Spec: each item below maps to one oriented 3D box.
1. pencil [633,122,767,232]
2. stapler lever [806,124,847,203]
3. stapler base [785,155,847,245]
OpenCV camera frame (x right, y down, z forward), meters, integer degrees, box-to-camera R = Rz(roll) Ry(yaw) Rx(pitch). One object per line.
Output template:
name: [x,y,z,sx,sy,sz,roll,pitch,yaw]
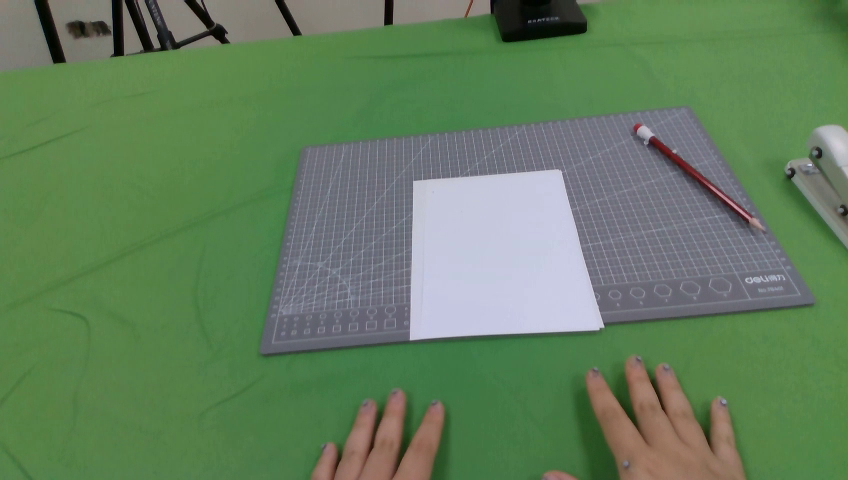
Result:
pencil: [0.267,-0.067,0.598,0.012,0.012,0.191,-19,45,-11]
stapler lever: [0.377,-0.059,0.534,0.027,0.040,0.117,-9,44,3]
stapler base: [0.380,-0.042,0.552,0.041,0.025,0.129,-9,45,3]
